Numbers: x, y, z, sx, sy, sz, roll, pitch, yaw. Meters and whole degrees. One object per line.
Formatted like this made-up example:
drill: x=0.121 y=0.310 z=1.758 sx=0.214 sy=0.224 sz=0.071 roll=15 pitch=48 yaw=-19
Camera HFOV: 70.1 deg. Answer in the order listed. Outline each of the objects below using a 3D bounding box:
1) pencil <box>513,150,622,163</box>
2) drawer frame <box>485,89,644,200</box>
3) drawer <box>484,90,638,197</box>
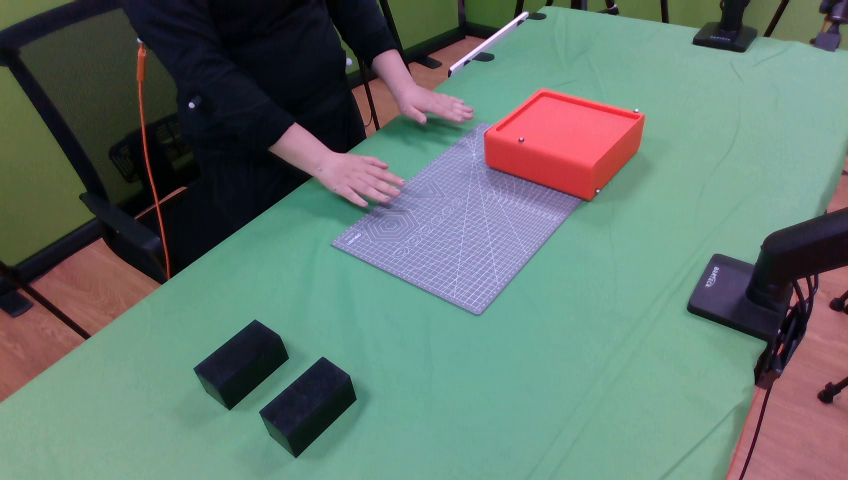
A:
pencil: x=0.260 y=-0.150 z=1.099 sx=0.194 sy=0.012 sz=0.012 roll=-4 pitch=40 yaw=7
drawer frame: x=0.253 y=-0.180 z=1.094 sx=0.212 sy=0.083 sz=0.202 roll=24 pitch=48 yaw=31
drawer: x=0.247 y=-0.180 z=1.097 sx=0.210 sy=0.073 sz=0.195 roll=25 pitch=49 yaw=31
